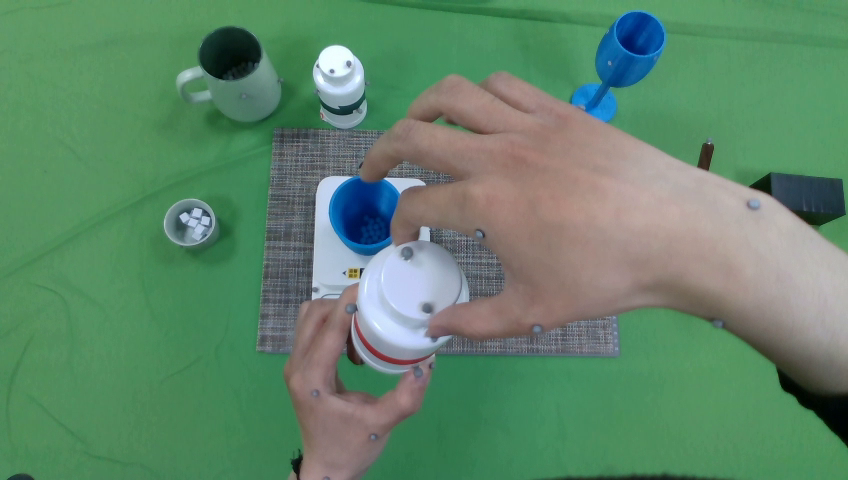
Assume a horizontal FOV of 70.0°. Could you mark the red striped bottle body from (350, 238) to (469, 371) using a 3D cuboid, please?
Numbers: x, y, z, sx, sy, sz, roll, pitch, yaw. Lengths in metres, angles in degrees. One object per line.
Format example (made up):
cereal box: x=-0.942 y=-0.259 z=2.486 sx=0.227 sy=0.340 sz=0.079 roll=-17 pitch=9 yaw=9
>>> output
red striped bottle body: x=-0.011 y=0.040 z=0.366 sx=0.063 sy=0.120 sz=0.062 roll=3 pitch=69 yaw=-9

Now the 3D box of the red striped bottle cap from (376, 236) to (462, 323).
red striped bottle cap: x=-0.002 y=0.020 z=0.316 sx=0.044 sy=0.018 sz=0.044 roll=2 pitch=71 yaw=-6

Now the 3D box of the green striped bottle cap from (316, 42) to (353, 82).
green striped bottle cap: x=-0.108 y=-0.215 z=0.731 sx=0.044 sy=0.020 sz=0.044 roll=1 pitch=74 yaw=-3

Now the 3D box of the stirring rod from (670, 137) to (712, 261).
stirring rod: x=0.331 y=-0.046 z=0.755 sx=0.014 sy=0.177 sz=0.006 roll=6 pitch=35 yaw=11

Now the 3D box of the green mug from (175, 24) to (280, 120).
green mug: x=-0.255 y=-0.210 z=0.783 sx=0.125 sy=0.105 sz=0.092 roll=-21 pitch=78 yaw=-8

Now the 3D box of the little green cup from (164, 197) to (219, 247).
little green cup: x=-0.291 y=-0.020 z=0.766 sx=0.061 sy=0.039 sz=0.061 roll=1 pitch=75 yaw=-4

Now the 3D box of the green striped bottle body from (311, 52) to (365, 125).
green striped bottle body: x=-0.110 y=-0.201 z=0.782 sx=0.063 sy=0.119 sz=0.063 roll=1 pitch=75 yaw=-3

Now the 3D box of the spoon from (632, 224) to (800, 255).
spoon: x=0.350 y=0.005 z=0.743 sx=0.022 sy=0.192 sz=0.041 roll=22 pitch=79 yaw=-42

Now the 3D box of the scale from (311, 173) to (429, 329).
scale: x=-0.067 y=0.011 z=0.772 sx=0.149 sy=0.031 sz=0.200 roll=0 pitch=76 yaw=-3

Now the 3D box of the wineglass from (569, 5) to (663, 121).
wineglass: x=0.242 y=-0.221 z=0.780 sx=0.074 sy=0.173 sz=0.073 roll=1 pitch=75 yaw=-2

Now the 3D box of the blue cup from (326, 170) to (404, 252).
blue cup: x=-0.069 y=-0.025 z=0.714 sx=0.093 sy=0.100 sz=0.092 roll=1 pitch=78 yaw=-5
